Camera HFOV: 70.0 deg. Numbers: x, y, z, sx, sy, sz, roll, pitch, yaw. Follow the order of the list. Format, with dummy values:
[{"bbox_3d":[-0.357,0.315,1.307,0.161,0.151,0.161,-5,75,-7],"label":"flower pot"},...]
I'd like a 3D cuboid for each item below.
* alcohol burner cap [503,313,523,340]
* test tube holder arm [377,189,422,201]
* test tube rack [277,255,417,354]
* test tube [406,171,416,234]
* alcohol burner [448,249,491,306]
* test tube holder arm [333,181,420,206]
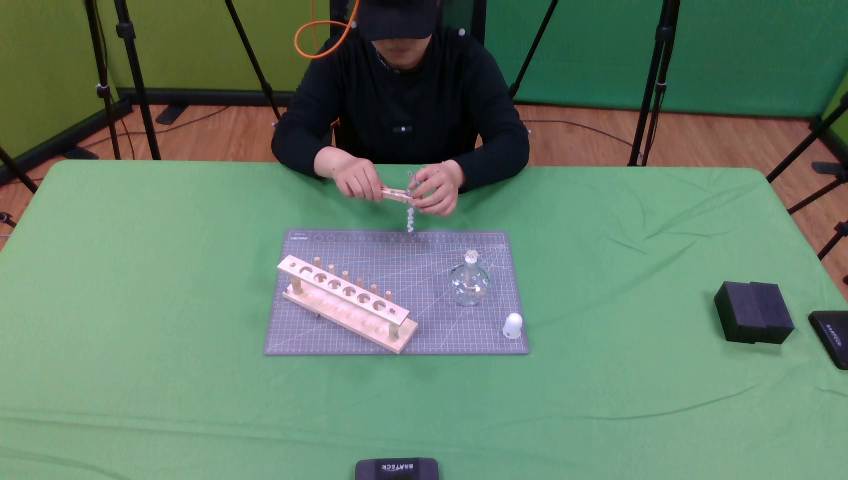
[{"bbox_3d":[0.156,0.148,1.051,0.034,0.048,0.033,1,45,-1],"label":"alcohol burner cap"},{"bbox_3d":[-0.048,-0.086,1.158,0.088,0.015,0.010,6,32,3],"label":"test tube holder arm"},{"bbox_3d":[-0.131,0.099,1.045,0.241,0.085,0.066,23,49,17],"label":"test tube rack"},{"bbox_3d":[-0.026,-0.069,1.159,0.017,0.151,0.017,2,44,-2],"label":"test tube"},{"bbox_3d":[0.081,0.062,1.078,0.078,0.120,0.077,1,45,-1],"label":"alcohol burner"},{"bbox_3d":[-0.092,-0.090,1.161,0.178,0.015,0.013,11,32,12],"label":"test tube holder arm"}]
